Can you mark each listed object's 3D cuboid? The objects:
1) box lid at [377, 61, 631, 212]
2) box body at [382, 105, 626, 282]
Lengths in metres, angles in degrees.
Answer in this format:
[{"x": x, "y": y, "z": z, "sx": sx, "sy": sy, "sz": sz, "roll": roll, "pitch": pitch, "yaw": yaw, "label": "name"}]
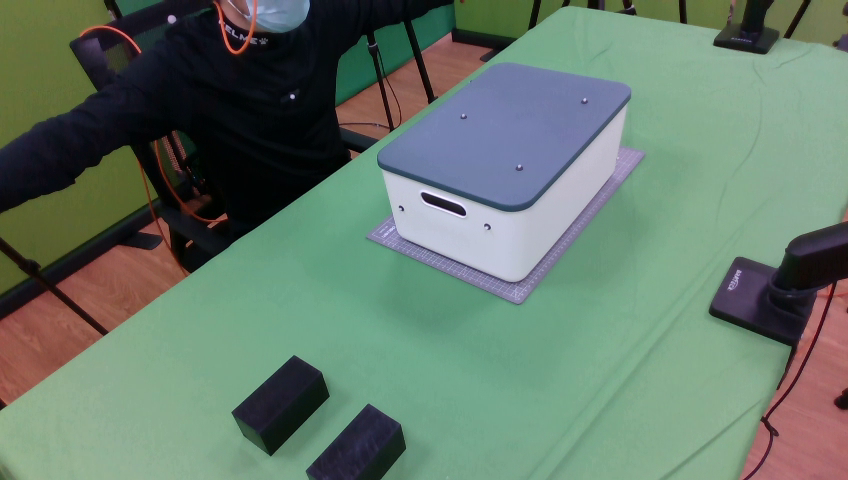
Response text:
[{"x": 0.131, "y": -0.178, "z": 0.930, "sx": 0.261, "sy": 0.015, "sz": 0.372, "roll": 22, "pitch": 49, "yaw": 30, "label": "box lid"}, {"x": 0.137, "y": -0.121, "z": 0.978, "sx": 0.252, "sy": 0.161, "sz": 0.365, "roll": 22, "pitch": 48, "yaw": 30, "label": "box body"}]
